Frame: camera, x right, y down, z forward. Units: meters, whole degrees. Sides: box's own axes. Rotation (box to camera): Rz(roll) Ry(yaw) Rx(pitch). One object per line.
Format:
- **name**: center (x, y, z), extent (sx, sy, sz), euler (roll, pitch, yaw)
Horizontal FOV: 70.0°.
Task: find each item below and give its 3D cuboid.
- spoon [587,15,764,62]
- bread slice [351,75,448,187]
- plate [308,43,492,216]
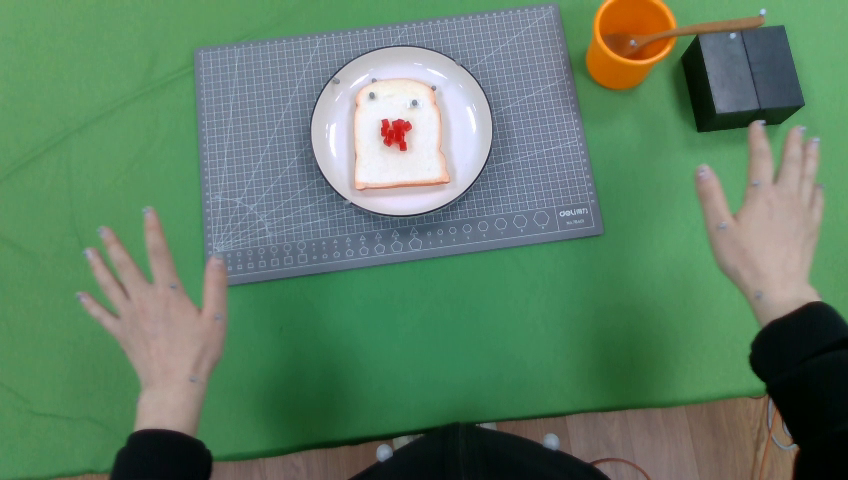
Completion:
- **spoon**: center (0.266, -0.224, 0.662), extent (0.022, 0.192, 0.041), euler (32, 74, -38)
- **bread slice**: center (-0.034, -0.125, 0.697), extent (0.107, 0.018, 0.133), euler (-7, 77, -2)
- **plate**: center (-0.026, -0.125, 0.695), extent (0.209, 0.038, 0.208), euler (0, 77, 1)
